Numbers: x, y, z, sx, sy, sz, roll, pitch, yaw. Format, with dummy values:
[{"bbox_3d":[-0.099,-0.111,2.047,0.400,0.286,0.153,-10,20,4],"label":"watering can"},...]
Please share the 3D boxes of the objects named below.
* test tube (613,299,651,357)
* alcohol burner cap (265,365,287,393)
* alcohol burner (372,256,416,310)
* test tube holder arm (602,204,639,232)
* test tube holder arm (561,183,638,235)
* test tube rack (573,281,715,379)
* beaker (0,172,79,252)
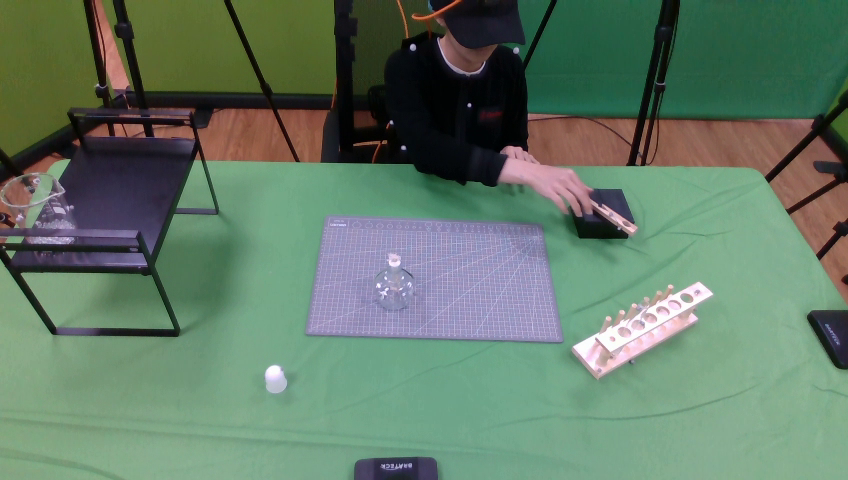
[{"bbox_3d":[0.328,0.143,0.962,0.017,0.151,0.017,3,48,-3],"label":"test tube"},{"bbox_3d":[-0.236,0.216,0.956,0.034,0.048,0.033,3,45,-3],"label":"alcohol burner cap"},{"bbox_3d":[-0.052,0.068,1.057,0.078,0.120,0.077,1,48,-1],"label":"alcohol burner"},{"bbox_3d":[0.385,-0.042,1.196,0.010,0.015,0.087,-31,56,-31],"label":"test tube holder arm"},{"bbox_3d":[0.350,-0.064,1.213,0.177,0.015,0.013,37,53,26],"label":"test tube holder arm"},{"bbox_3d":[0.378,0.140,1.038,0.242,0.085,0.066,-22,51,-23],"label":"test tube rack"},{"bbox_3d":[-0.557,-0.038,0.889,0.084,0.101,0.073,-3,47,-8],"label":"beaker"}]
